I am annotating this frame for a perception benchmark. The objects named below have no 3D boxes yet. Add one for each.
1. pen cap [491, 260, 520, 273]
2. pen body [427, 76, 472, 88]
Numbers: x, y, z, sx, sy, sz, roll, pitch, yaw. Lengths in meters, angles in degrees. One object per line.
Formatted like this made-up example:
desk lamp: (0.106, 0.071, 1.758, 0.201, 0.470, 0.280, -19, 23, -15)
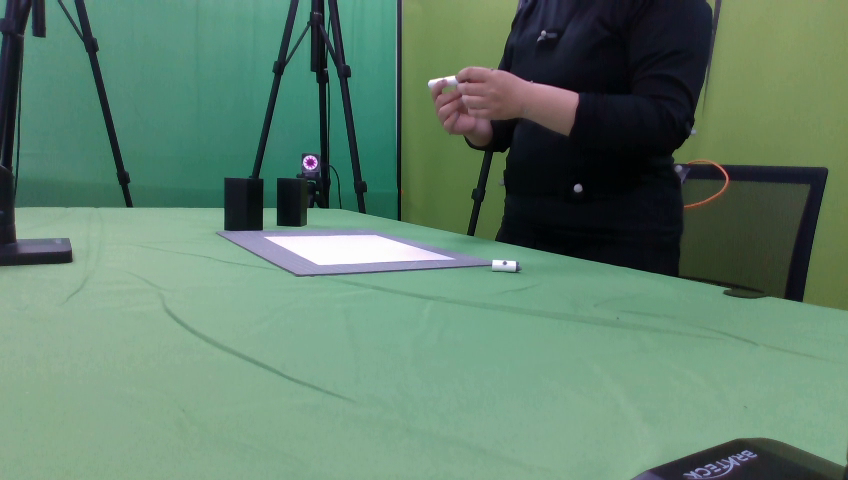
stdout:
pen cap: (0.110, 0.036, 0.813, 0.038, 0.017, 0.017, 3, 7, 7)
pen body: (0.046, -0.286, 1.097, 0.017, 0.017, 0.143, -1, 10, -29)
